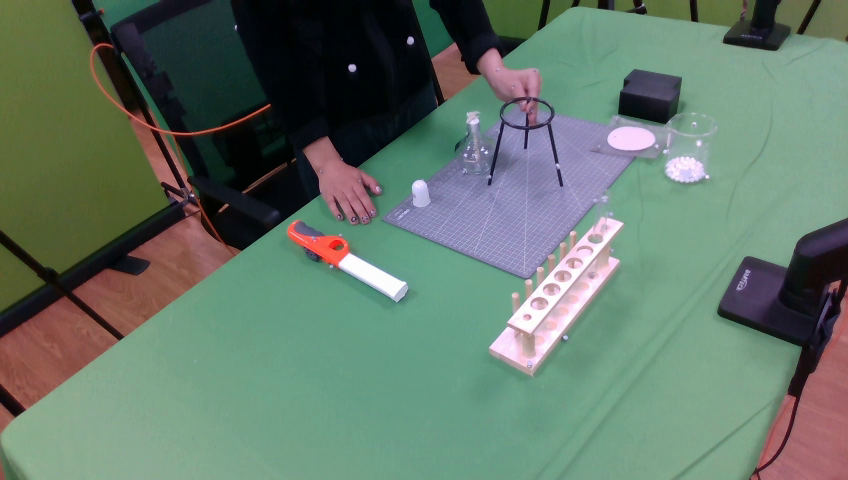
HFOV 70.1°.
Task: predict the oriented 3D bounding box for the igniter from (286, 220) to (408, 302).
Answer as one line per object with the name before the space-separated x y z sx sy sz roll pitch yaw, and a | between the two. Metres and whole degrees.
igniter | -0.134 0.028 0.969 0.274 0.025 0.057 26 61 35

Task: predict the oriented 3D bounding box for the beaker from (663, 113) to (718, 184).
beaker | 0.442 -0.151 1.018 0.084 0.101 0.074 -1 40 11

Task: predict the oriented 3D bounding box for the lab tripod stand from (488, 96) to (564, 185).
lab tripod stand | 0.178 -0.167 1.036 0.148 0.132 0.147 -2 45 3

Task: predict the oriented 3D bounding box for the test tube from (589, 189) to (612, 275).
test tube | 0.238 -0.007 0.818 0.017 0.151 0.017 -3 43 4

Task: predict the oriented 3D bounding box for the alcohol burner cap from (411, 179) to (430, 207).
alcohol burner cap | -0.008 -0.085 1.063 0.034 0.048 0.033 -4 40 4

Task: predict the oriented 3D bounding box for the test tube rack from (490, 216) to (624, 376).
test tube rack | 0.184 0.064 0.822 0.066 0.085 0.243 24 50 33

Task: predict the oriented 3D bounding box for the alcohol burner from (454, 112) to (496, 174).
alcohol burner | 0.092 -0.181 1.102 0.078 0.119 0.077 -5 42 5

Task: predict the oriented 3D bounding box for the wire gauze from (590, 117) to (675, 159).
wire gauze | 0.393 -0.192 1.139 0.120 0.011 0.125 19 47 28
